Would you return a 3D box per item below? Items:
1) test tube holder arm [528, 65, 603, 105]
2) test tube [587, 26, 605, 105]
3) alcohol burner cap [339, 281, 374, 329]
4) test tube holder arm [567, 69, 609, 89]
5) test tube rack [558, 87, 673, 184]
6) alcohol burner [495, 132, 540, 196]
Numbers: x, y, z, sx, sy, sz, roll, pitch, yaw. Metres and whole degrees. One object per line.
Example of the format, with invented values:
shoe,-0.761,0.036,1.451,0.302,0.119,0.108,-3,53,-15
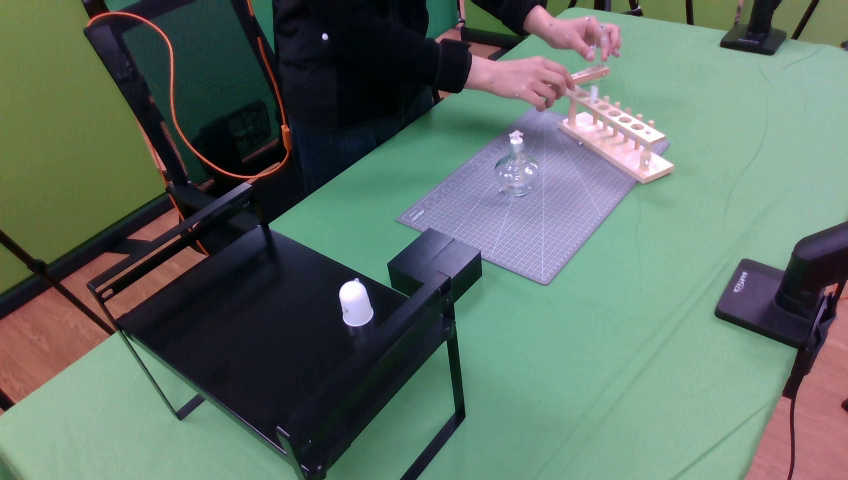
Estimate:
test tube holder arm,0.247,-0.270,1.051,0.179,0.015,0.013,-27,53,-25
test tube,0.304,-0.303,1.070,0.017,0.151,0.017,-3,41,3
alcohol burner cap,-0.071,0.063,0.617,0.034,0.048,0.033,-4,39,4
test tube holder arm,0.288,-0.284,1.065,0.088,0.015,0.010,-19,51,-19
test tube rack,0.347,-0.203,1.109,0.067,0.085,0.240,-22,42,-17
alcohol burner,0.160,-0.135,1.035,0.078,0.119,0.077,-5,42,5
